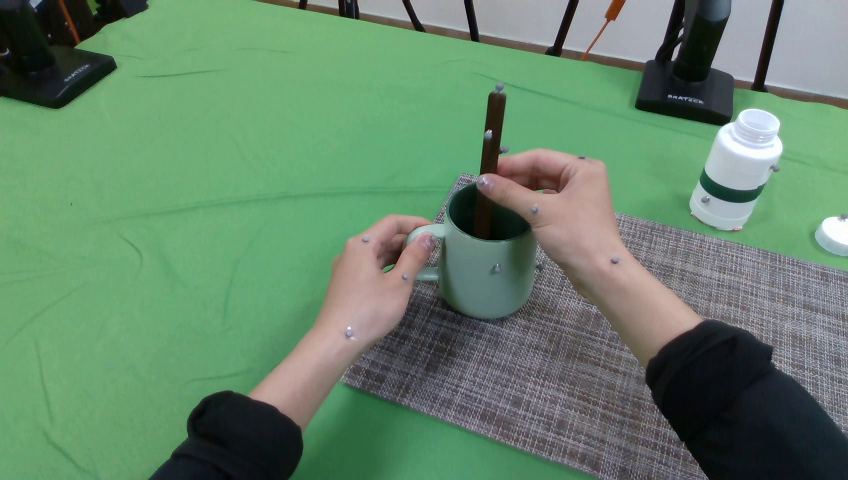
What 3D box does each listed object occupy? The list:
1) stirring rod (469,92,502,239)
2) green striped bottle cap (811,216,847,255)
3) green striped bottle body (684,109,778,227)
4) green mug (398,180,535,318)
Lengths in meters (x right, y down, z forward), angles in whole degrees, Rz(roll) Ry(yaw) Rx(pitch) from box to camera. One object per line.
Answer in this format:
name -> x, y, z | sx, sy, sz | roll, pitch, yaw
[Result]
stirring rod -> 0.047, -0.037, 0.491 | 0.014, 0.177, 0.006 | 8, 39, 6
green striped bottle cap -> 0.431, -0.005, 0.632 | 0.044, 0.020, 0.044 | 1, 42, 0
green striped bottle body -> 0.319, -0.075, 0.627 | 0.063, 0.120, 0.062 | 0, 46, 0
green mug -> 0.038, 0.012, 0.547 | 0.125, 0.106, 0.091 | -6, 47, -6
